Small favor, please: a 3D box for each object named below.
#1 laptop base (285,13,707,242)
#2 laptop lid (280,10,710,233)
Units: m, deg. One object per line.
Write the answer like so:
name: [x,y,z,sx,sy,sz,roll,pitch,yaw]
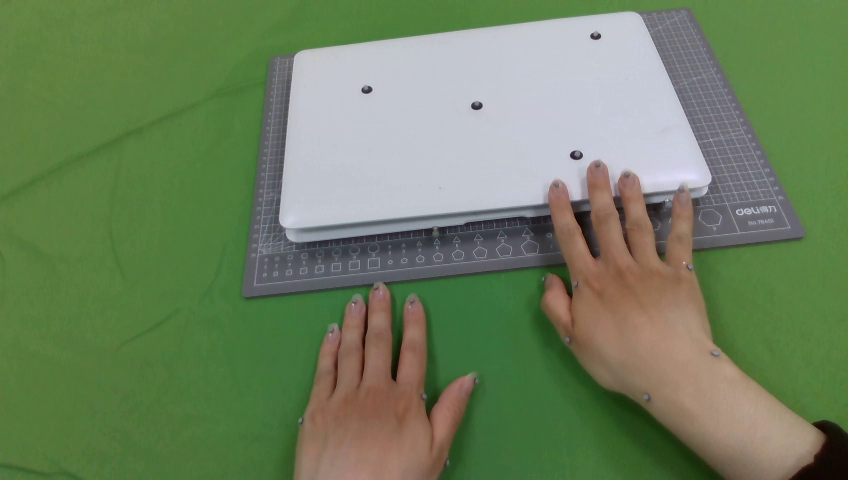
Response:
laptop base: [0.051,-0.111,0.565,0.354,0.023,0.233,-6,59,2]
laptop lid: [0.049,-0.119,0.550,0.357,0.013,0.239,-5,56,2]
